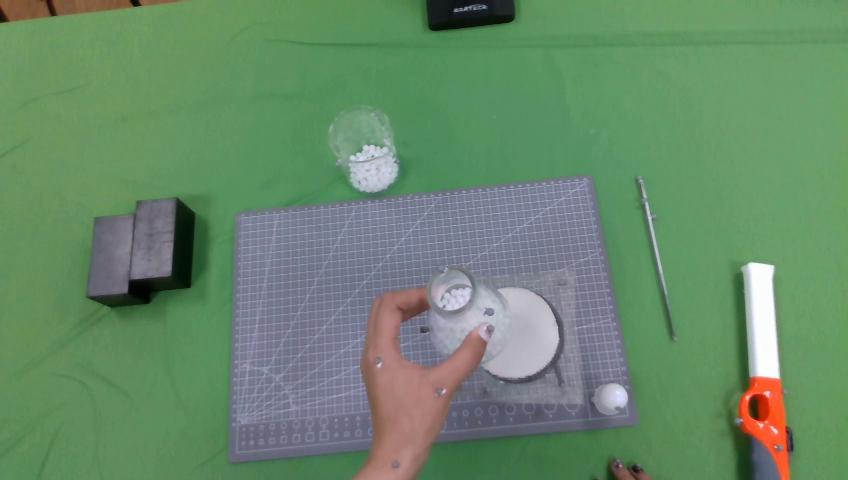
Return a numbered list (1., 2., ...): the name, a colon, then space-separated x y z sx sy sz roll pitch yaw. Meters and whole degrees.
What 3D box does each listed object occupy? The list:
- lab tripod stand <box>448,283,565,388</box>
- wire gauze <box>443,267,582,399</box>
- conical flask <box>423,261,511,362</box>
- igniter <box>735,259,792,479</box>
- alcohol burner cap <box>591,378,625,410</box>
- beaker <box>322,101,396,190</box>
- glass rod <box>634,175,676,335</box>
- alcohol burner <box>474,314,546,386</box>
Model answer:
1. lab tripod stand: 0.087 0.107 0.624 0.148 0.132 0.147 -1 73 4
2. wire gauze: 0.080 0.085 0.561 0.125 0.011 0.120 -1 73 5
3. conical flask: 0.029 0.052 0.481 0.075 0.123 0.075 -3 71 10
4. igniter: 0.360 0.154 0.648 0.057 0.025 0.275 8 72 -4
5. alcohol burner cap: 0.198 0.163 0.646 0.034 0.048 0.033 -1 71 5
6. beaker: -0.071 -0.108 0.730 0.083 0.101 0.074 29 76 12
7. glass rod: 0.270 0.013 0.711 0.008 0.008 0.198 -6 71 2
8. alcohol burner: 0.089 0.112 0.633 0.078 0.120 0.077 -2 71 6
